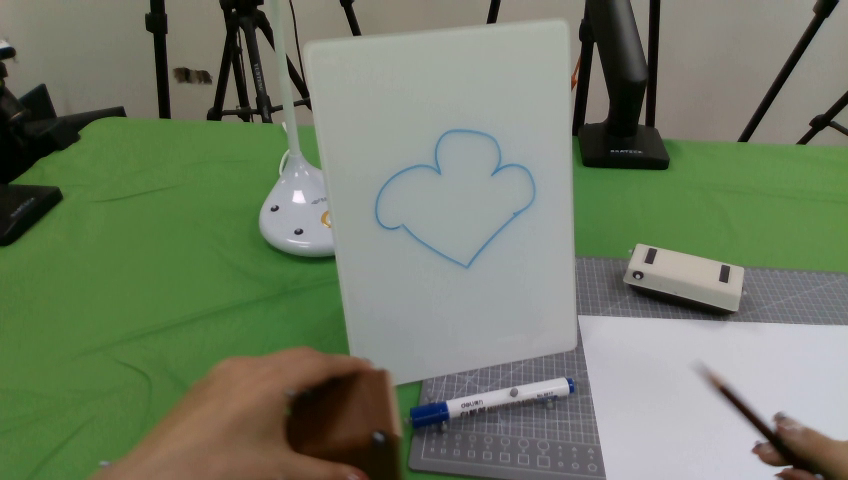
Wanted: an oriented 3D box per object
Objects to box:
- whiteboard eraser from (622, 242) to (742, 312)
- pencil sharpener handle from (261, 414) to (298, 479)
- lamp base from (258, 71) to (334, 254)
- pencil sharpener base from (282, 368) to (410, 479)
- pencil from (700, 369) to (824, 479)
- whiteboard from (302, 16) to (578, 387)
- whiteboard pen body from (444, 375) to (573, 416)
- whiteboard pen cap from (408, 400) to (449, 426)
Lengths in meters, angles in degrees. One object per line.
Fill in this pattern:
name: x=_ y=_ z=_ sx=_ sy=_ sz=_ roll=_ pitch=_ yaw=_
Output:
whiteboard eraser: x=0.270 y=0.039 z=0.638 sx=0.112 sy=0.042 sz=0.055 roll=15 pitch=41 yaw=21
pencil sharpener handle: x=-0.102 y=0.149 z=0.404 sx=0.031 sy=0.068 sz=0.035 roll=-9 pitch=28 yaw=-7
lamp base: x=-0.138 y=-0.101 z=0.725 sx=0.161 sy=0.182 sz=0.177 roll=-28 pitch=42 yaw=-31
pencil sharpener base: x=-0.051 y=0.150 z=0.421 sx=0.077 sy=0.108 sz=0.060 roll=-9 pitch=38 yaw=-7
pencil: x=0.200 y=0.121 z=0.319 sx=0.012 sy=0.195 sz=0.012 roll=-41 pitch=22 yaw=21
whiteboard: x=0.015 y=-0.040 z=0.582 sx=0.217 sy=0.307 sz=0.143 roll=-9 pitch=18 yaw=-9
whiteboard pen body: x=0.062 y=0.136 z=0.524 sx=0.141 sy=0.017 sz=0.017 roll=-9 pitch=37 yaw=-9
whiteboard pen cap: x=0.004 y=0.146 z=0.514 sx=0.033 sy=0.018 sz=0.018 roll=-9 pitch=37 yaw=-10
